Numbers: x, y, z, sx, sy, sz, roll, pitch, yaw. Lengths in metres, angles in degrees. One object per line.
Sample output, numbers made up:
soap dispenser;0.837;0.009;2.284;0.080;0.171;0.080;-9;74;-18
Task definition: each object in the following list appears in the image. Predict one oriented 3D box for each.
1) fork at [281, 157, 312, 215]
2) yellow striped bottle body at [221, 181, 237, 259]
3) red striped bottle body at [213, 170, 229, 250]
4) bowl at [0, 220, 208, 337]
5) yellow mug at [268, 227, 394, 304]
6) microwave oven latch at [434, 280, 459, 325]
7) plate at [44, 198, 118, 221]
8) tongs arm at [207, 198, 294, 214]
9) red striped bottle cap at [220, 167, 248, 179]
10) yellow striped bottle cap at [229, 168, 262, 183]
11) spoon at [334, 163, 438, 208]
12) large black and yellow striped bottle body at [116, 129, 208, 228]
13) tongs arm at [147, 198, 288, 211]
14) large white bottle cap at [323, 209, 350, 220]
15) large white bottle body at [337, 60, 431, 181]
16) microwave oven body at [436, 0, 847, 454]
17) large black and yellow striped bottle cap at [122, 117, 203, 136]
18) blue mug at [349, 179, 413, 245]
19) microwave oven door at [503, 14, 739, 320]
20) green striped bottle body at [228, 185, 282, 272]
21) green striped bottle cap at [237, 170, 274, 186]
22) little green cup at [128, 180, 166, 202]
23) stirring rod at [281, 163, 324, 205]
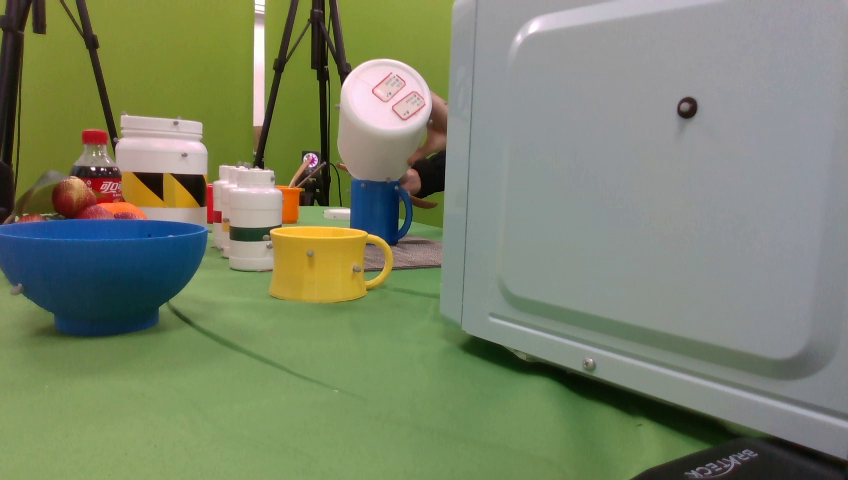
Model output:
fork;-0.289;-0.116;1.321;0.028;0.019;0.207;6;51;19
yellow striped bottle body;-0.244;-0.035;0.823;0.063;0.120;0.063;2;8;0
red striped bottle body;-0.283;-0.047;0.909;0.063;0.119;0.063;2;13;0
bowl;-0.251;0.029;0.479;0.151;0.077;0.151;2;7;0
yellow mug;-0.094;0.023;0.630;0.131;0.064;0.099;0;8;-22
microwave oven latch;0.044;0.045;0.470;0.079;0.029;0.030;-2;8;-39
plate;-0.617;-0.056;1.179;0.209;0.038;0.209;3;7;0
tongs arm;-0.423;-0.084;1.472;0.050;0.026;0.386;2;6;22
red striped bottle cap;-0.281;-0.100;0.901;0.044;0.017;0.044;-1;4;0
yellow striped bottle cap;-0.240;-0.087;0.816;0.044;0.018;0.044;-3;5;1
spoon;-0.066;-0.096;1.065;0.194;0.021;0.041;25;-10;-9
large black and yellow striped bottle body;-0.404;-0.089;0.937;0.131;0.184;0.130;3;7;0
tongs arm;-0.503;-0.091;1.513;0.028;0.028;0.389;-1;4;38
large white bottle cap;-0.184;-0.062;1.449;0.115;0.018;0.115;2;8;0
large white bottle body;-0.067;-0.170;0.929;0.131;0.130;0.184;1;-21;-10
microwave oven body;0.279;-0.040;0.464;0.444;0.260;0.324;-3;9;-41
large black and yellow striped bottle cap;-0.399;-0.174;0.927;0.115;0.019;0.115;5;9;-1
blue mug;-0.069;-0.047;1.001;0.116;0.106;0.083;7;9;29
microwave oven door;0.218;-0.065;0.600;0.358;0.243;0.039;-4;10;-41
green striped bottle body;-0.208;-0.023;0.745;0.063;0.119;0.063;2;7;0
green striped bottle cap;-0.205;-0.075;0.737;0.044;0.020;0.044;1;7;0
little green cup;-0.485;-0.087;1.062;0.061;0.038;0.061;-1;6;0
stirring rod;-0.278;-0.105;1.293;0.176;0.006;0.014;-47;25;-18
